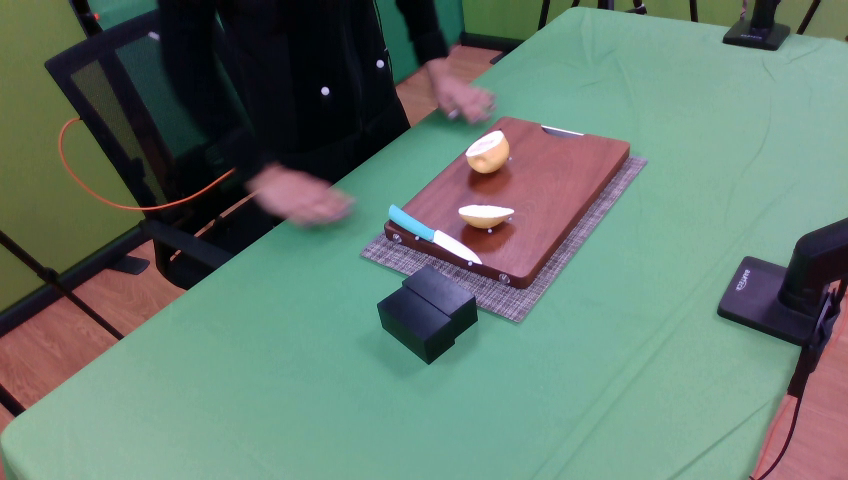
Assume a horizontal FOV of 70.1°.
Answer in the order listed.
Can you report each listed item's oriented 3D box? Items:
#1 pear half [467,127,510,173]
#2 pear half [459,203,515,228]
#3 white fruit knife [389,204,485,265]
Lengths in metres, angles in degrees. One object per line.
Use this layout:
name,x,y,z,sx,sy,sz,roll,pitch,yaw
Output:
pear half,0.124,-0.162,1.079,0.076,0.056,0.110,-1,40,38
pear half,0.098,-0.036,0.953,0.088,0.031,0.070,4,25,-4
white fruit knife,0.015,-0.008,0.950,0.205,0.016,0.027,30,69,34
